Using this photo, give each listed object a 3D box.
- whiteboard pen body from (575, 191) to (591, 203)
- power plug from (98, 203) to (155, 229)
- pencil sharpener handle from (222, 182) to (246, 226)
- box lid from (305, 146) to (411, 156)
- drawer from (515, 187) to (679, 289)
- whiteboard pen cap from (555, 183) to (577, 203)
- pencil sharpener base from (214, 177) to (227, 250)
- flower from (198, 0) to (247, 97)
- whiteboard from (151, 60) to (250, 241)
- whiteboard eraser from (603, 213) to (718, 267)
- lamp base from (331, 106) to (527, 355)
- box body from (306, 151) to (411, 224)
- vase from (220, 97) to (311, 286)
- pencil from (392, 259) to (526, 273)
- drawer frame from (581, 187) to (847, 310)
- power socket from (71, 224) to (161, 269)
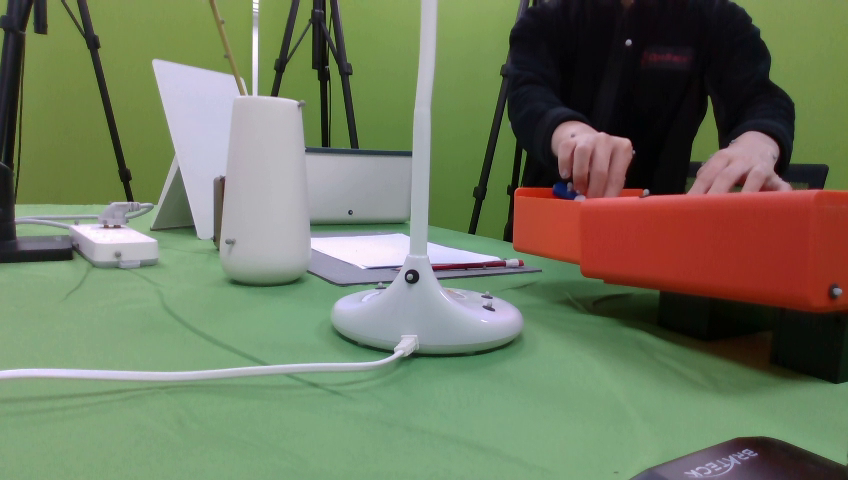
[{"bbox_3d":[0.187,-0.022,0.600,0.017,0.017,0.140,-3,32,-36],"label":"whiteboard pen body"},{"bbox_3d":[-0.416,-0.026,0.848,0.073,0.052,0.035,1,7,-28],"label":"power plug"},{"bbox_3d":[-0.289,-0.055,0.912,0.036,0.067,0.030,-3,9,-29],"label":"pencil sharpener handle"},{"bbox_3d":[-0.229,-0.200,1.360,0.373,0.015,0.262,-3,9,-33],"label":"box lid"},{"bbox_3d":[0.229,-0.009,0.604,0.195,0.073,0.210,-1,9,-28],"label":"drawer"},{"bbox_3d":[0.156,-0.047,0.643,0.018,0.018,0.033,-3,29,-37],"label":"whiteboard pen cap"},{"bbox_3d":[-0.265,-0.036,0.870,0.061,0.107,0.076,-2,8,-29],"label":"pencil sharpener base"},{"bbox_3d":[-0.187,-0.133,0.648,0.038,0.362,0.044,-1,22,43],"label":"flower"},{"bbox_3d":[-0.408,-0.139,1.093,0.143,0.305,0.218,-15,0,26],"label":"whiteboard"},{"bbox_3d":[0.249,-0.001,0.645,0.056,0.042,0.112,-4,16,-27],"label":"whiteboard eraser"},{"bbox_3d":[0.006,-0.012,0.478,0.161,0.180,0.179,2,10,2],"label":"lamp base"},{"bbox_3d":[-0.230,-0.126,1.371,0.366,0.160,0.253,-2,8,-33],"label":"box body"},{"bbox_3d":[-0.172,-0.052,0.662,0.098,0.200,0.098,3,8,0],"label":"vase"},{"bbox_3d":[0.049,0.035,0.782,0.195,0.012,0.012,-3,9,-25],"label":"pencil"},{"bbox_3d":[0.280,0.000,0.511,0.203,0.082,0.212,0,3,-28],"label":"drawer frame"},{"bbox_3d":[-0.408,0.004,0.793,0.072,0.032,0.225,-2,8,-38],"label":"power socket"}]
